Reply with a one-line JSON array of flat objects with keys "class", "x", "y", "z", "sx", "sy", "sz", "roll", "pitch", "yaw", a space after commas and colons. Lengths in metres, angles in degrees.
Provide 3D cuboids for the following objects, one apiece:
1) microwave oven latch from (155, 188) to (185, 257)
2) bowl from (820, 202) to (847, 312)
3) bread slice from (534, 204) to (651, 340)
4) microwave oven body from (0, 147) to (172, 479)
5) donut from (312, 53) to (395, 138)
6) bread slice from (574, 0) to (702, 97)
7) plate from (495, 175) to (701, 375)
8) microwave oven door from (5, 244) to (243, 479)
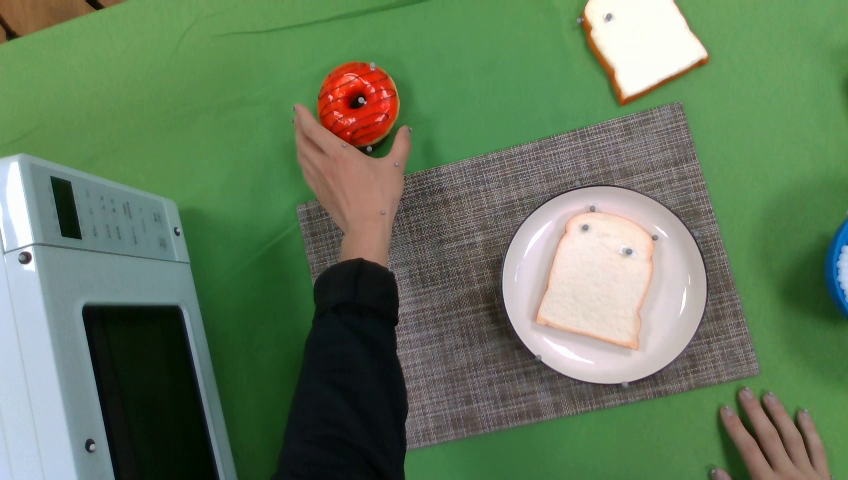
[{"class": "microwave oven latch", "x": -0.300, "y": -0.018, "z": 0.695, "sx": 0.030, "sy": 0.029, "sz": 0.079, "roll": -16, "pitch": 85, "yaw": 5}, {"class": "bowl", "x": 0.456, "y": 0.019, "z": 0.592, "sx": 0.151, "sy": 0.077, "sz": 0.151, "roll": -1, "pitch": 85, "yaw": 8}, {"class": "bread slice", "x": 0.181, "y": 0.029, "z": 0.643, "sx": 0.107, "sy": 0.018, "sz": 0.134, "roll": 11, "pitch": 87, "yaw": 8}, {"class": "microwave oven body", "x": -0.408, "y": 0.184, "z": 0.597, "sx": 0.326, "sy": 0.261, "sz": 0.440, "roll": -16, "pitch": 84, "yaw": 5}, {"class": "donut", "x": -0.081, "y": -0.165, "z": 0.693, "sx": 0.099, "sy": 0.048, "sz": 0.099, "roll": -1, "pitch": 86, "yaw": 10}, {"class": "bread slice", "x": 0.229, "y": -0.239, "z": 0.671, "sx": 0.105, "sy": 0.019, "sz": 0.131, "roll": -28, "pitch": 84, "yaw": 3}, {"class": "plate", "x": 0.180, "y": 0.037, "z": 0.643, "sx": 0.207, "sy": 0.039, "sz": 0.207, "roll": -1, "pitch": 86, "yaw": 7}, {"class": "microwave oven door", "x": -0.258, "y": 0.184, "z": 0.573, "sx": 0.039, "sy": 0.244, "sz": 0.354, "roll": -17, "pitch": 84, "yaw": 6}]
